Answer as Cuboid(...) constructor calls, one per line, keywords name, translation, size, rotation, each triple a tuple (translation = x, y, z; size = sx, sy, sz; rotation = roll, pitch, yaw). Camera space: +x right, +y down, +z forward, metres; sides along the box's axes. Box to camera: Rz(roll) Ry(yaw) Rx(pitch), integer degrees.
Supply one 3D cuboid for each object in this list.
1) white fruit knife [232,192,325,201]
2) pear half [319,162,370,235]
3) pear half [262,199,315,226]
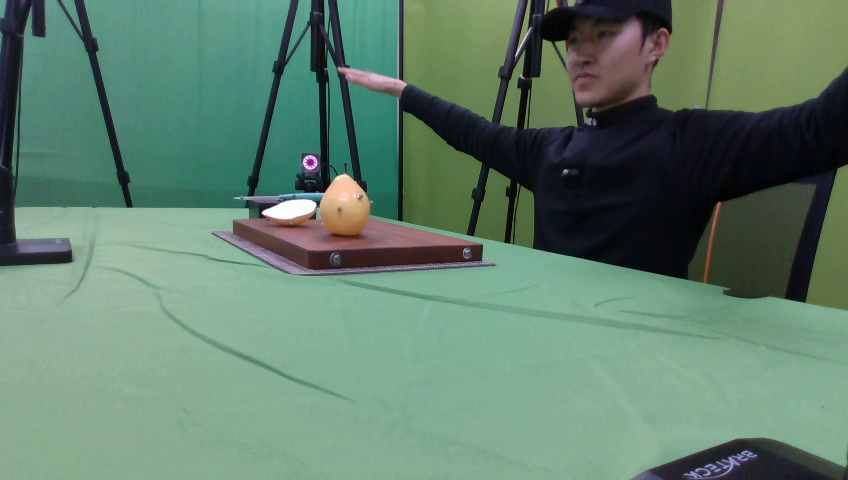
Cuboid(name="white fruit knife", translation=(-0.302, -0.090, 1.291), size=(0.208, 0.016, 0.027), rotation=(-4, -13, -27))
Cuboid(name="pear half", translation=(-0.111, -0.061, 0.894), size=(0.055, 0.110, 0.077), rotation=(8, 13, 40))
Cuboid(name="pear half", translation=(-0.223, -0.041, 1.008), size=(0.088, 0.031, 0.070), rotation=(-11, 22, 2))
